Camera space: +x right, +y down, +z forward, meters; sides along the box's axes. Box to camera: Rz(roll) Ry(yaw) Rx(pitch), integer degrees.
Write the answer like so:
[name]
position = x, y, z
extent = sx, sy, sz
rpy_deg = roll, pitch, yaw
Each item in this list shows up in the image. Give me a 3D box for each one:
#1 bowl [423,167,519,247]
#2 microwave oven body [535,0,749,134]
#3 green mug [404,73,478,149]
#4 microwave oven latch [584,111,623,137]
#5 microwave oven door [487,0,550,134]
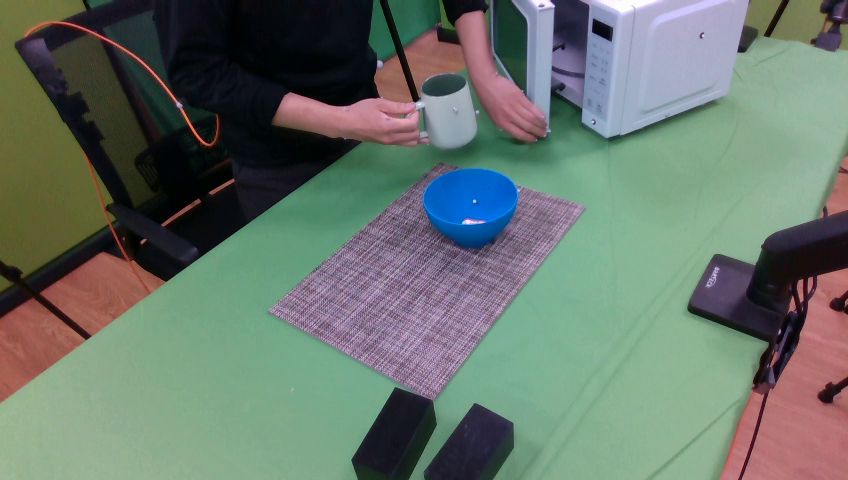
[bowl]
position = 0.075, -0.041, 0.958
extent = 0.151, 0.077, 0.150
rpy_deg = -4, 40, 4
[microwave oven body]
position = 0.382, -0.445, 1.246
extent = 0.327, 0.261, 0.437
rpy_deg = -22, 42, -16
[green mug]
position = 0.026, -0.210, 1.020
extent = 0.125, 0.105, 0.091
rpy_deg = -24, 44, -11
[microwave oven latch]
position = 0.337, -0.222, 1.142
extent = 0.030, 0.029, 0.078
rpy_deg = -21, 42, -14
[microwave oven door]
position = 0.186, -0.407, 1.222
extent = 0.039, 0.245, 0.353
rpy_deg = -11, 41, -4
